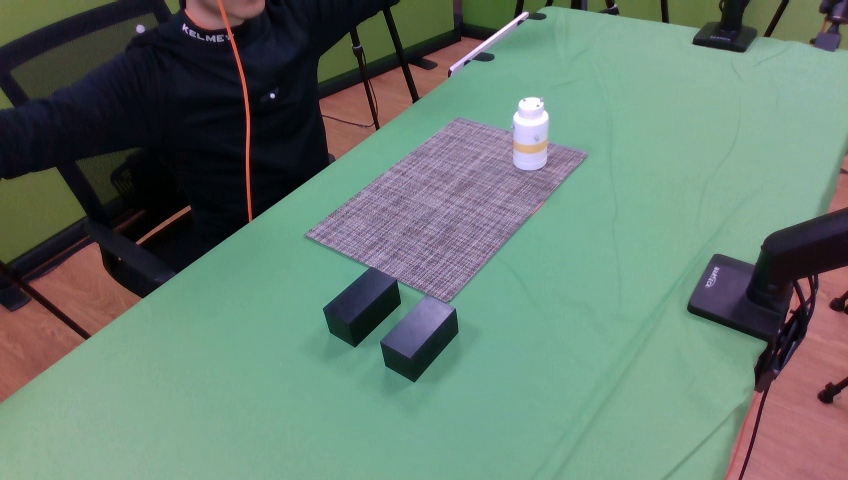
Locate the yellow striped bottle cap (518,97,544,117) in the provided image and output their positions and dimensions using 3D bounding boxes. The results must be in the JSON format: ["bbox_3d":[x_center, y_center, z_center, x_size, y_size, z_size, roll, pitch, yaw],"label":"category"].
[{"bbox_3d":[0.185,-0.230,1.047,0.044,0.019,0.044,-3,40,3],"label":"yellow striped bottle cap"}]

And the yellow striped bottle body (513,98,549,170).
[{"bbox_3d":[0.191,-0.192,1.082,0.063,0.121,0.062,-4,41,4],"label":"yellow striped bottle body"}]
